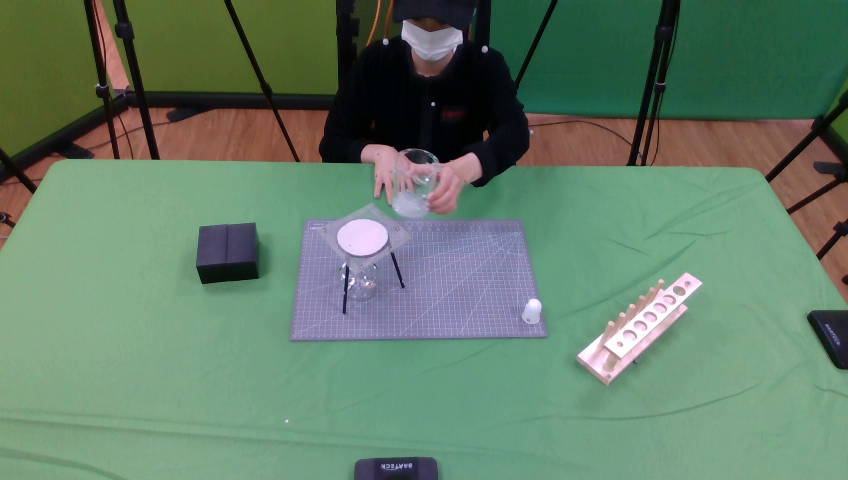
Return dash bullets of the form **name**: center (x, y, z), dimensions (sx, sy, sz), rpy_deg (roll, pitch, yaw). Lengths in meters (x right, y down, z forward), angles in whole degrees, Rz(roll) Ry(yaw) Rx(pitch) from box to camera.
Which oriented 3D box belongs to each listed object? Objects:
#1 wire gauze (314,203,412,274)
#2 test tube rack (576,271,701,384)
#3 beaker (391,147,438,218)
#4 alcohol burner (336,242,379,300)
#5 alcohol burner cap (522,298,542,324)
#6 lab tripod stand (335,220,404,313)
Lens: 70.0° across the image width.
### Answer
- **wire gauze**: center (-0.103, -0.009, 1.023), dimensions (0.121, 0.011, 0.124), rpy_deg (-29, 53, -27)
- **test tube rack**: center (0.373, 0.138, 1.048), dimensions (0.242, 0.085, 0.066), rpy_deg (-31, 56, -29)
- **beaker**: center (-0.018, -0.091, 1.013), dimensions (0.074, 0.101, 0.083), rpy_deg (-9, 47, -17)
- **alcohol burner**: center (-0.118, 0.050, 1.072), dimensions (0.078, 0.120, 0.077), rpy_deg (2, 44, -1)
- **alcohol burner cap**: center (0.193, 0.124, 1.074), dimensions (0.034, 0.048, 0.033), rpy_deg (1, 46, -1)
- **lab tripod stand**: center (-0.110, 0.039, 1.070), dimensions (0.148, 0.132, 0.147), rpy_deg (1, 46, -1)
